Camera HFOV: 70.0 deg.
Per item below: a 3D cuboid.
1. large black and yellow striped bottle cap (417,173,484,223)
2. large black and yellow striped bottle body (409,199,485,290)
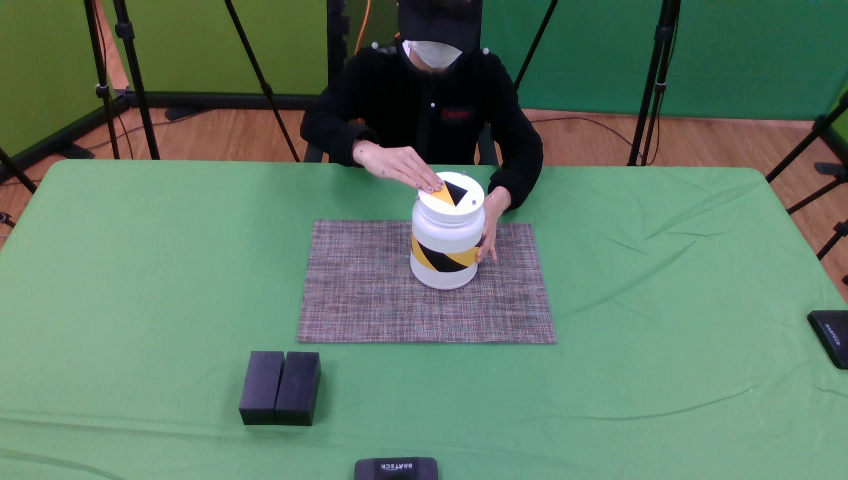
[{"bbox_3d":[0.045,-0.074,1.033,0.115,0.019,0.114,3,44,-2],"label":"large black and yellow striped bottle cap"},{"bbox_3d":[0.040,-0.013,1.096,0.131,0.185,0.130,2,46,-2],"label":"large black and yellow striped bottle body"}]
